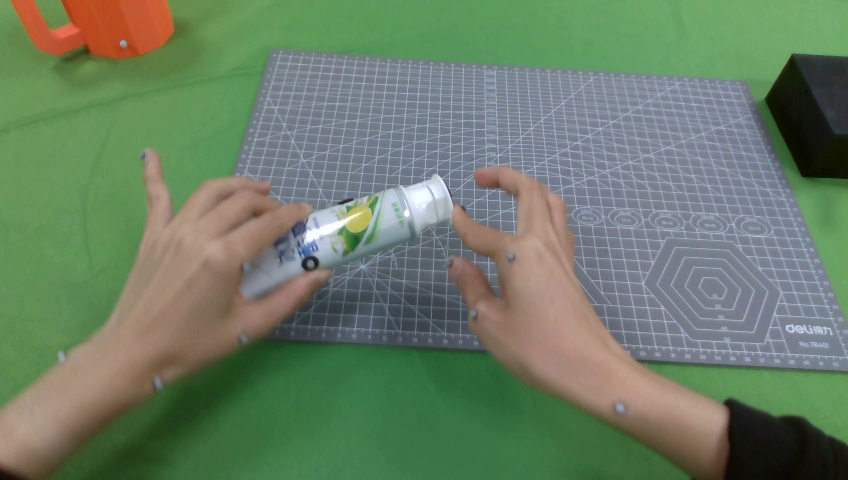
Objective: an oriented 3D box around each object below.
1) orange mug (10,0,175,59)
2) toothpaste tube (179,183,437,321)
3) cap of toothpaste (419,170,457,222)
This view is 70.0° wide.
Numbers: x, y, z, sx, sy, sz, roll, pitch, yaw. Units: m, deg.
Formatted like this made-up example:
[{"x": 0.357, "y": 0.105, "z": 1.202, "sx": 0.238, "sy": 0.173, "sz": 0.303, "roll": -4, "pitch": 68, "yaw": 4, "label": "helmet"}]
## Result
[{"x": -0.292, "y": -0.219, "z": 0.531, "sx": 0.083, "sy": 0.101, "sz": 0.126, "roll": 39, "pitch": 56, "yaw": 22, "label": "orange mug"}, {"x": -0.068, "y": -0.001, "z": 0.379, "sx": 0.165, "sy": 0.035, "sz": 0.054, "roll": -20, "pitch": 52, "yaw": -9, "label": "toothpaste tube"}, {"x": 0.009, "y": -0.027, "z": 0.390, "sx": 0.011, "sy": 0.037, "sz": 0.037, "roll": -26, "pitch": 59, "yaw": -19, "label": "cap of toothpaste"}]
